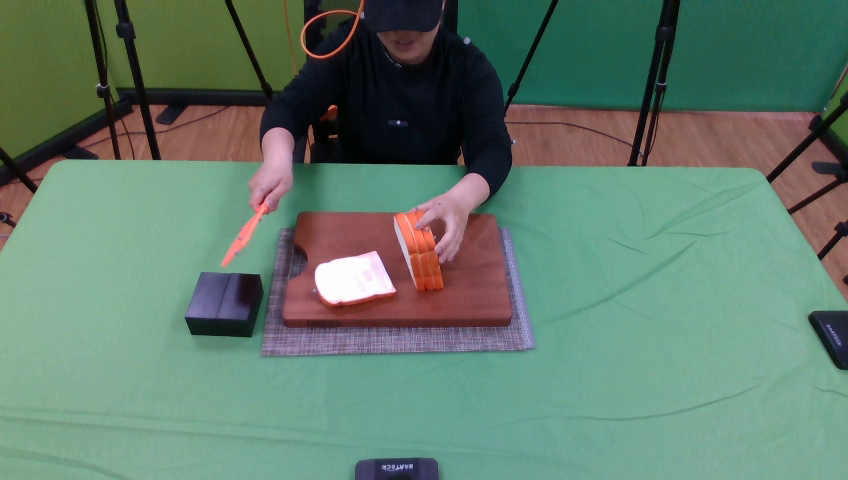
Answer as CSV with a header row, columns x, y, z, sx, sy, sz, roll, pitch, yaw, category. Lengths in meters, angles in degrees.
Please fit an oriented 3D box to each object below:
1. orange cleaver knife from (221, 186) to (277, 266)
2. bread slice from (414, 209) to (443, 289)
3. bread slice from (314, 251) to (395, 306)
x,y,z,sx,sy,sz,roll,pitch,yaw,category
-0.309,-0.028,1.075,0.012,0.077,0.210,41,29,-20,orange cleaver knife
0.006,0.013,1.075,0.018,0.135,0.106,-17,51,-6,bread slice
-0.130,0.071,1.077,0.132,0.019,0.104,-11,49,-20,bread slice
